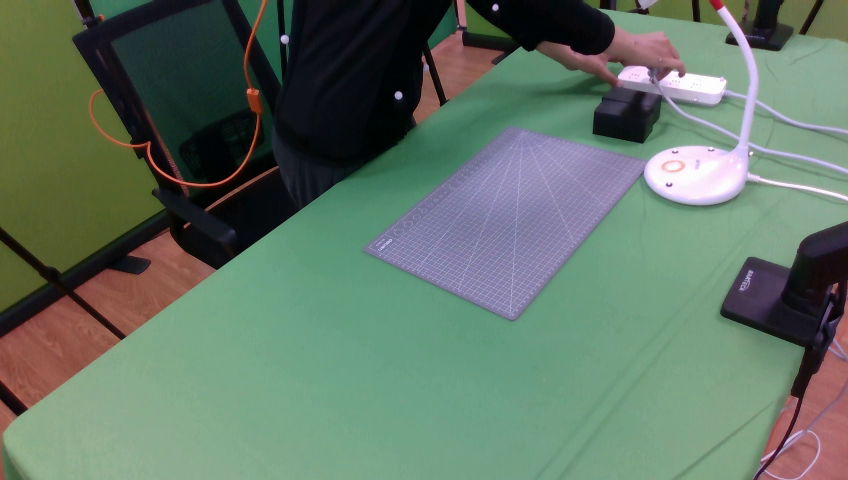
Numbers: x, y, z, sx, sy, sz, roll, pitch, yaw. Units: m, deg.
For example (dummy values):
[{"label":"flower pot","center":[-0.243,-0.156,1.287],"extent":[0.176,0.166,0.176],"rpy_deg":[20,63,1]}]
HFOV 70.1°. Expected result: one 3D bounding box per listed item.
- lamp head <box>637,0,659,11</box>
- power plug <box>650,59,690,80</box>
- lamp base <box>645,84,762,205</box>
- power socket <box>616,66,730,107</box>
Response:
[{"label":"lamp head","center":[0.330,-0.391,0.827],"extent":[0.122,0.113,0.112],"rpy_deg":[-21,35,25]},{"label":"power plug","center":[0.500,-0.345,1.238],"extent":[0.072,0.053,0.035],"rpy_deg":[8,76,10]},{"label":"lamp base","center":[0.461,-0.170,0.975],"extent":[0.179,0.181,0.160],"rpy_deg":[2,41,11]},{"label":"power socket","center":[0.513,-0.321,1.258],"extent":[0.225,0.033,0.072],"rpy_deg":[20,49,30]}]
